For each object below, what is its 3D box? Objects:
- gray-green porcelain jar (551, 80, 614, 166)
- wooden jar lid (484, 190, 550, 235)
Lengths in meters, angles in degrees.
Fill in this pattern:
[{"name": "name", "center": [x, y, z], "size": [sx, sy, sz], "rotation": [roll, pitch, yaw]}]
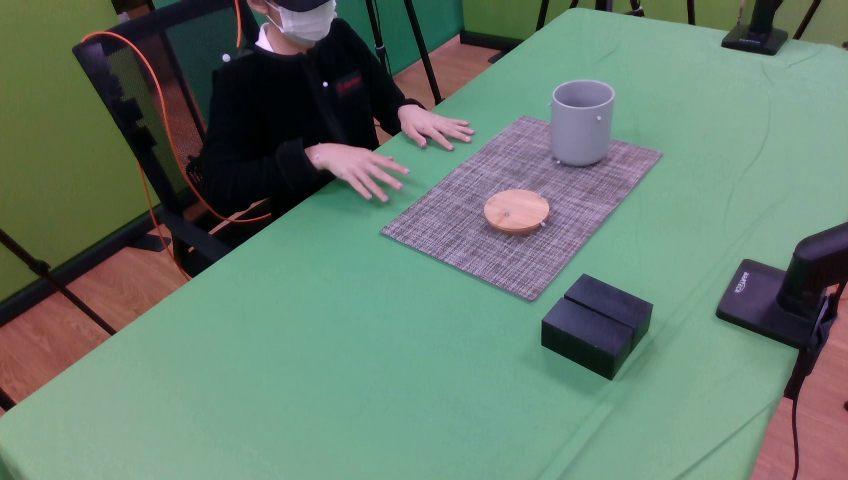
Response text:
[{"name": "gray-green porcelain jar", "center": [0.282, -0.205, 1.087], "size": [0.106, 0.127, 0.105], "rotation": [-4, 40, 4]}, {"name": "wooden jar lid", "center": [0.154, -0.045, 1.001], "size": [0.108, 0.021, 0.108], "rotation": [-3, 40, 3]}]
